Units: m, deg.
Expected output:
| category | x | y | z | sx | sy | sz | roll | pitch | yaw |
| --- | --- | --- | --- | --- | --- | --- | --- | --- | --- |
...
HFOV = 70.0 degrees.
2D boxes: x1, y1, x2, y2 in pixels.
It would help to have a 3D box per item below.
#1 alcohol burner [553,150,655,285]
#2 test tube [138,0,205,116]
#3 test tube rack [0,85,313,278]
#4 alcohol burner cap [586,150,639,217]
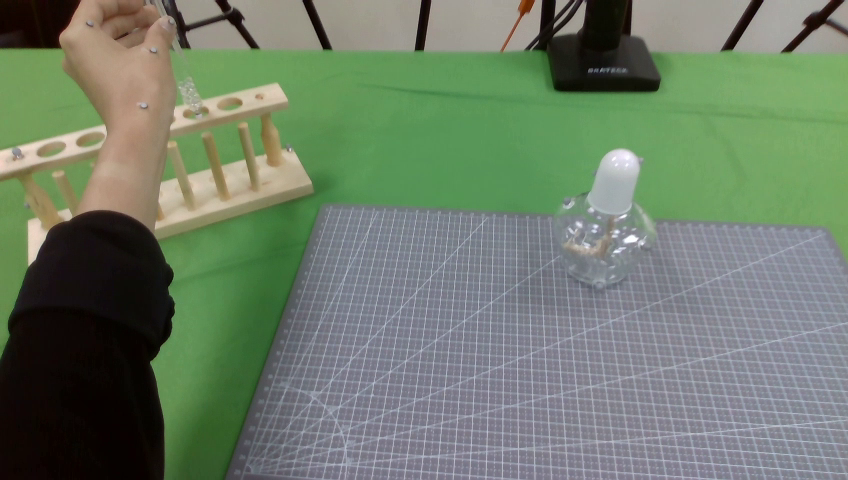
| category | x | y | z | sx | sy | sz | roll | pitch | yaw |
| --- | --- | --- | --- | --- | --- | --- | --- | --- | --- |
| alcohol burner | 0.140 | -0.021 | 0.462 | 0.078 | 0.120 | 0.077 | 0 | 46 | 0 |
| test tube | -0.203 | -0.160 | 0.473 | 0.017 | 0.151 | 0.017 | -2 | 49 | 3 |
| test tube rack | -0.229 | -0.056 | 0.533 | 0.243 | 0.086 | 0.066 | -19 | 47 | -17 |
| alcohol burner cap | 0.139 | -0.044 | 0.442 | 0.034 | 0.048 | 0.033 | 2 | 44 | -1 |
